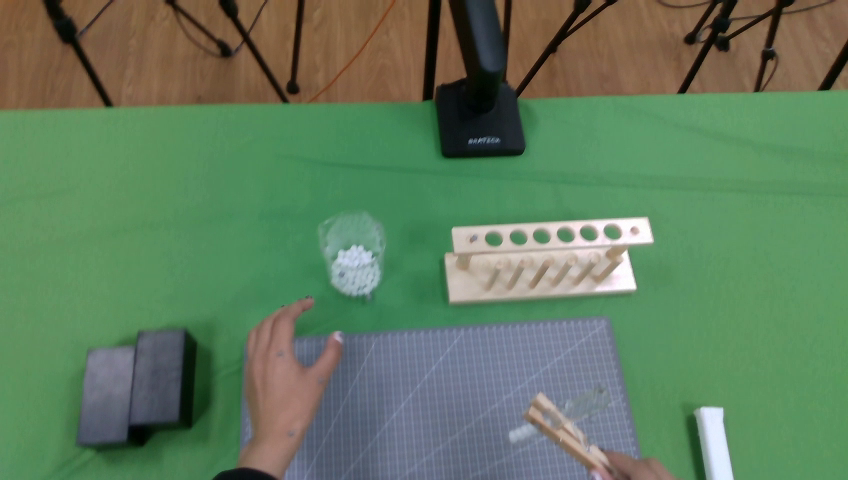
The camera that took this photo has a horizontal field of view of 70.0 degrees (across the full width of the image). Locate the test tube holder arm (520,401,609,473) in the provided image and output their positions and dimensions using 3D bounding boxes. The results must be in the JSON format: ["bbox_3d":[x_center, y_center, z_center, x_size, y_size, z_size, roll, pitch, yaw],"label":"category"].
[{"bbox_3d":[0.120,0.168,0.514,0.088,0.015,0.010,36,57,0],"label":"test tube holder arm"}]

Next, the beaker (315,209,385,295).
[{"bbox_3d":[-0.088,0.017,0.724,0.084,0.101,0.073,23,65,7],"label":"beaker"}]

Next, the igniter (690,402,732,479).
[{"bbox_3d":[0.332,0.318,0.665,0.057,0.025,0.274,7,65,-13],"label":"igniter"}]

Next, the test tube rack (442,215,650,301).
[{"bbox_3d":[0.149,0.023,0.751,0.243,0.086,0.066,-3,65,-7],"label":"test tube rack"}]

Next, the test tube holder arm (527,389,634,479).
[{"bbox_3d":[0.157,0.193,0.515,0.178,0.015,0.013,43,57,4],"label":"test tube holder arm"}]

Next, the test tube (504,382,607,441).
[{"bbox_3d":[0.106,0.149,0.515,0.017,0.151,0.017,10,58,-17],"label":"test tube"}]
